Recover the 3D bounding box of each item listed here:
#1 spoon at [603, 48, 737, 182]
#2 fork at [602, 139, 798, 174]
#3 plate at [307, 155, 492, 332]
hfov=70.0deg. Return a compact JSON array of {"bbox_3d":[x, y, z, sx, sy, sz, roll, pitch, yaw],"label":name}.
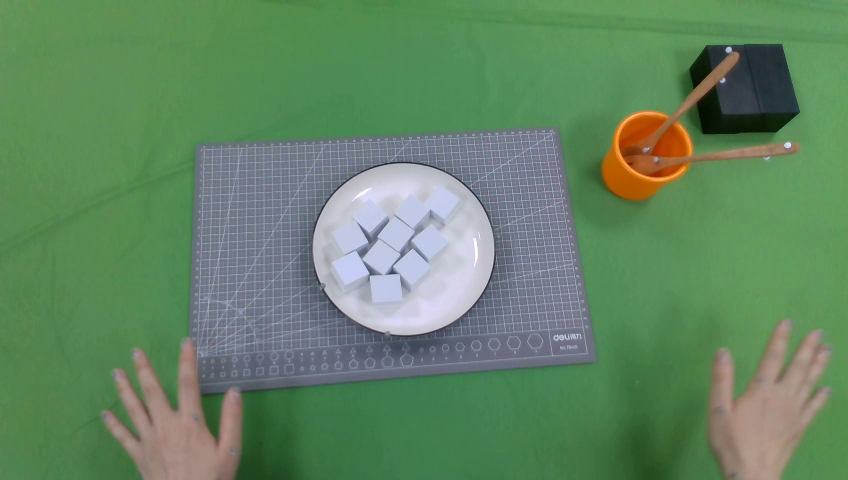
[{"bbox_3d":[0.283,-0.141,0.701,0.041,0.194,0.022,51,34,16],"label":"spoon"},{"bbox_3d":[0.301,-0.095,0.682,0.206,0.019,0.028,-2,86,41],"label":"fork"},{"bbox_3d":[-0.028,0.005,0.694,0.208,0.039,0.206,1,72,-3],"label":"plate"}]
